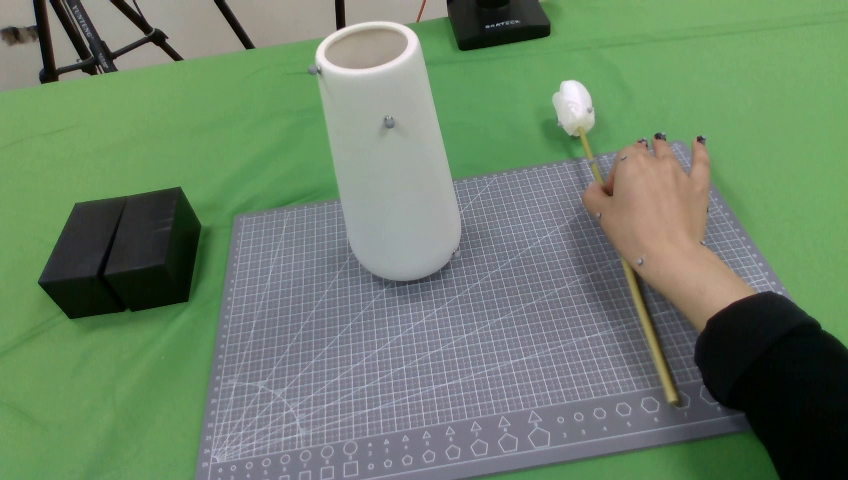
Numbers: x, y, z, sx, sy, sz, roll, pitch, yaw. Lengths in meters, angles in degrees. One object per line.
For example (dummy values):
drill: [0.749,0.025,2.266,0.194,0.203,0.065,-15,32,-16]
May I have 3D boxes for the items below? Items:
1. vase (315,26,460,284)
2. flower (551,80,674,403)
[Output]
vase: [-0.027,-0.057,0.471,0.098,0.202,0.097,-5,45,6]
flower: [0.160,-0.024,0.528,0.038,0.044,0.358,-11,48,9]
